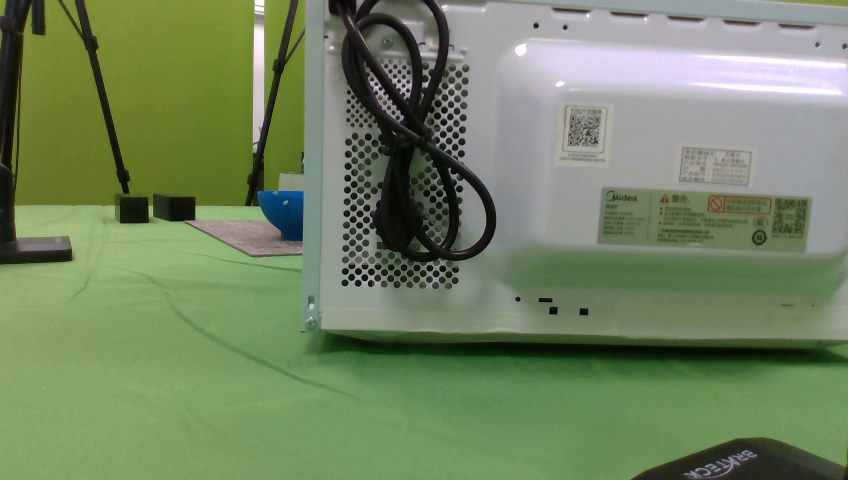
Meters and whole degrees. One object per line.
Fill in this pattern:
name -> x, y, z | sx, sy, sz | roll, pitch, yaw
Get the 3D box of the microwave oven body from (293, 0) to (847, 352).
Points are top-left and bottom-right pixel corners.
microwave oven body -> 0.122, -0.055, 0.550 | 0.442, 0.260, 0.325 | 3, 7, -5

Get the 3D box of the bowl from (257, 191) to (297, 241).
bowl -> -0.206, -0.041, 1.027 | 0.151, 0.077, 0.151 | 3, 8, 0

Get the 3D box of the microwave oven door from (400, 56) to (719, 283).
microwave oven door -> 0.155, -0.077, 0.698 | 0.356, 0.243, 0.039 | 2, 8, -5

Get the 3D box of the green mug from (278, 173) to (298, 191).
green mug -> -0.248, -0.083, 1.236 | 0.092, 0.105, 0.125 | 4, 8, 12

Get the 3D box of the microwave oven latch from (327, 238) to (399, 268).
microwave oven latch -> -0.069, 0.015, 0.694 | 0.079, 0.029, 0.030 | 3, 7, -3
